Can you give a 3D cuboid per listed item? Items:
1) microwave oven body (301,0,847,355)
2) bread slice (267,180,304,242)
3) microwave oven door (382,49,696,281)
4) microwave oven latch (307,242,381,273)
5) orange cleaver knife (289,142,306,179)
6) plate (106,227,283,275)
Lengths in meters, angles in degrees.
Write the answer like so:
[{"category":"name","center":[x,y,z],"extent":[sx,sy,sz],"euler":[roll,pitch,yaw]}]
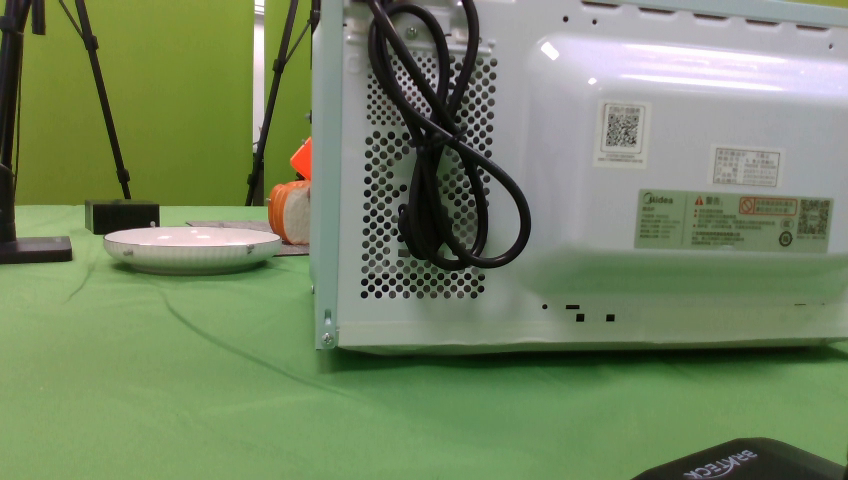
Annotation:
[{"category":"microwave oven body","center":[0.120,-0.053,0.535],"extent":[0.443,0.260,0.325],"euler":[2,7,-11]},{"category":"bread slice","center":[-0.194,-0.050,1.000],"extent":[0.135,0.107,0.018],"euler":[-6,13,-40]},{"category":"microwave oven door","center":[0.135,-0.077,0.685],"extent":[0.357,0.243,0.039],"euler":[1,8,-12]},{"category":"microwave oven latch","center":[-0.086,0.019,0.656],"extent":[0.079,0.029,0.030],"euler":[2,7,-10]},{"category":"orange cleaver knife","center":[-0.137,-0.104,1.027],"extent":[0.012,0.077,0.212],"euler":[21,-7,46]},{"category":"plate","center":[-0.288,0.013,0.772],"extent":[0.208,0.039,0.207],"euler":[2,7,0]}]
